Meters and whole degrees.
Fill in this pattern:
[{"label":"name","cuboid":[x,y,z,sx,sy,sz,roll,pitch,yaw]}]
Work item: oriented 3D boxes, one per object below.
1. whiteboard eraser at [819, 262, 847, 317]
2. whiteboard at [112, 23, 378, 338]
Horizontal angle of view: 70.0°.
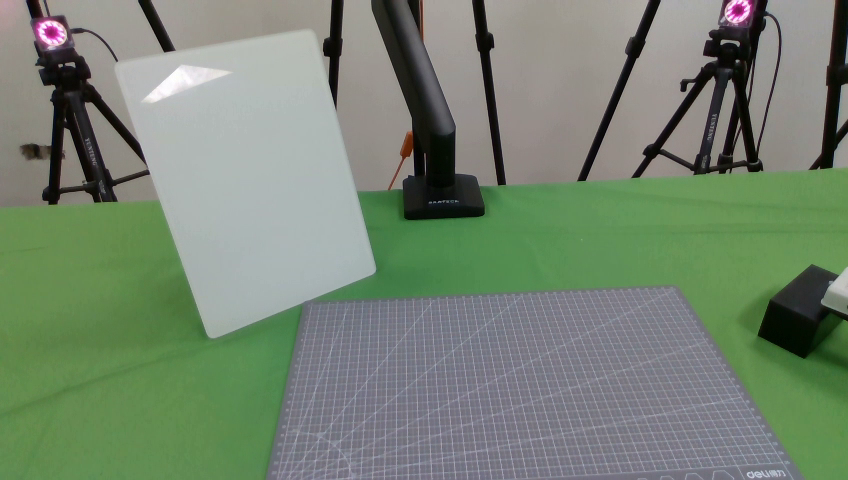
[{"label":"whiteboard eraser","cuboid":[0.451,0.064,0.582,0.055,0.042,0.111,-28,39,-32]},{"label":"whiteboard","cuboid":[-0.215,-0.077,0.732,0.217,0.307,0.143,-22,19,-28]}]
